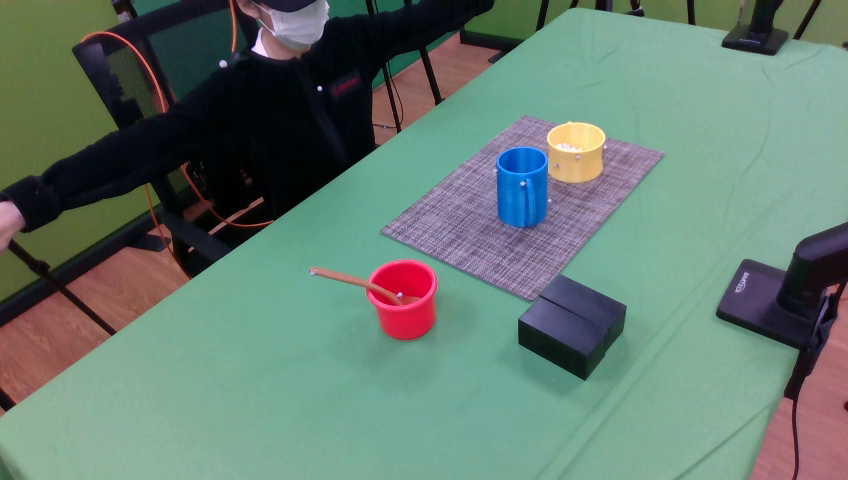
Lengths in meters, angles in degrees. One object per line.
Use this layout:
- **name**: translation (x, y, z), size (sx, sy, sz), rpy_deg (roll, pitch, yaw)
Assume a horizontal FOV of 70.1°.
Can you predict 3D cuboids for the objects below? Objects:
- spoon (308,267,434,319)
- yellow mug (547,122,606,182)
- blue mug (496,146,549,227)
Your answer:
- **spoon**: translation (-0.067, 0.068, 0.812), size (0.195, 0.021, 0.041), rpy_deg (26, 32, -31)
- **yellow mug**: translation (0.270, -0.167, 1.090), size (0.100, 0.064, 0.130), rpy_deg (-6, 39, 3)
- **blue mug**: translation (0.162, -0.076, 0.969), size (0.082, 0.106, 0.116), rpy_deg (-9, 40, -1)
